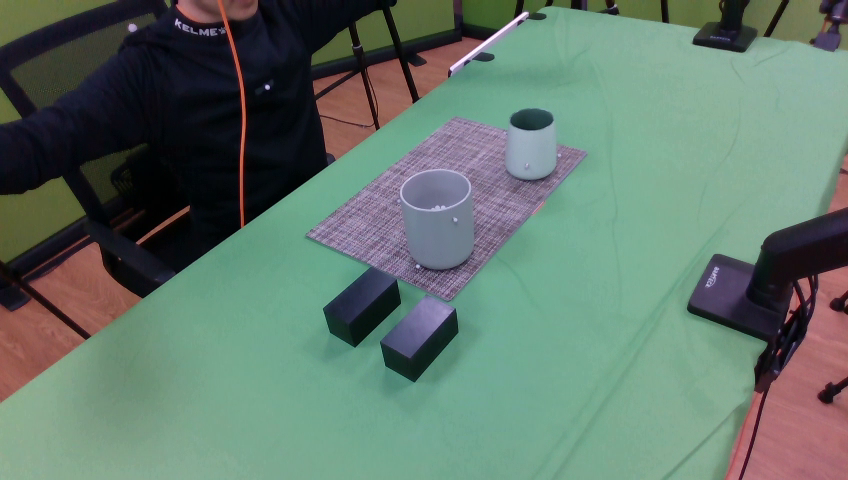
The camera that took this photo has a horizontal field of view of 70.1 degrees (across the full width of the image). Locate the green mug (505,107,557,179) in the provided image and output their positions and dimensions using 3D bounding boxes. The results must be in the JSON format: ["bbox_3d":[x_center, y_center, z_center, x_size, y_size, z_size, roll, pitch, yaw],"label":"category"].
[{"bbox_3d":[0.189,-0.180,1.082,0.092,0.105,0.124,-6,41,2],"label":"green mug"}]

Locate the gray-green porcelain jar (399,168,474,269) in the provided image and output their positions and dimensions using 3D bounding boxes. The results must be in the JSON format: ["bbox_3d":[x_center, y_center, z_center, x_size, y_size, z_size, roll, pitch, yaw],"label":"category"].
[{"bbox_3d":[0.022,-0.027,0.911,0.106,0.127,0.105,-4,41,4],"label":"gray-green porcelain jar"}]
